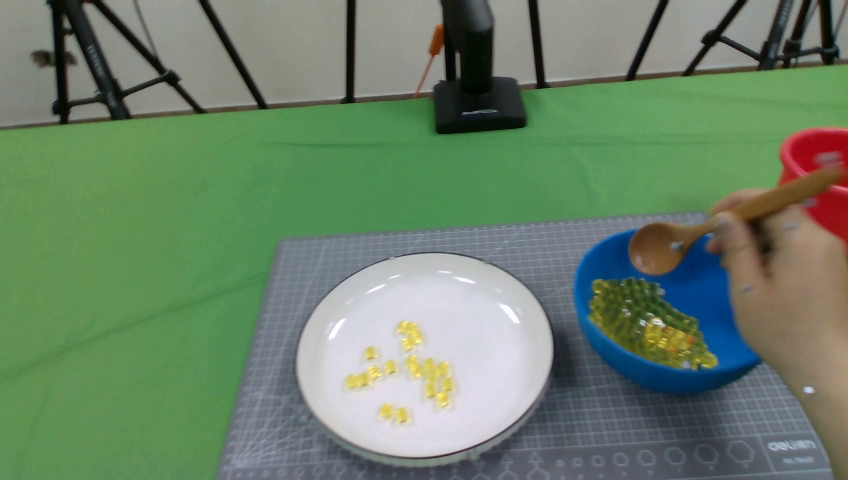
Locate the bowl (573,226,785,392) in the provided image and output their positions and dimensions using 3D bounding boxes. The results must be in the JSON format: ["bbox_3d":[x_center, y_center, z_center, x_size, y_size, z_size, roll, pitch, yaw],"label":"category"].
[{"bbox_3d":[0.190,0.066,0.478,0.151,0.077,0.150,-3,42,3],"label":"bowl"}]

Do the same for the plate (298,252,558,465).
[{"bbox_3d":[0.004,0.092,0.498,0.207,0.039,0.205,-3,42,3],"label":"plate"}]

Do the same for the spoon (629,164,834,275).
[{"bbox_3d":[0.194,-0.010,0.410,0.022,0.194,0.041,-15,80,-12],"label":"spoon"}]
